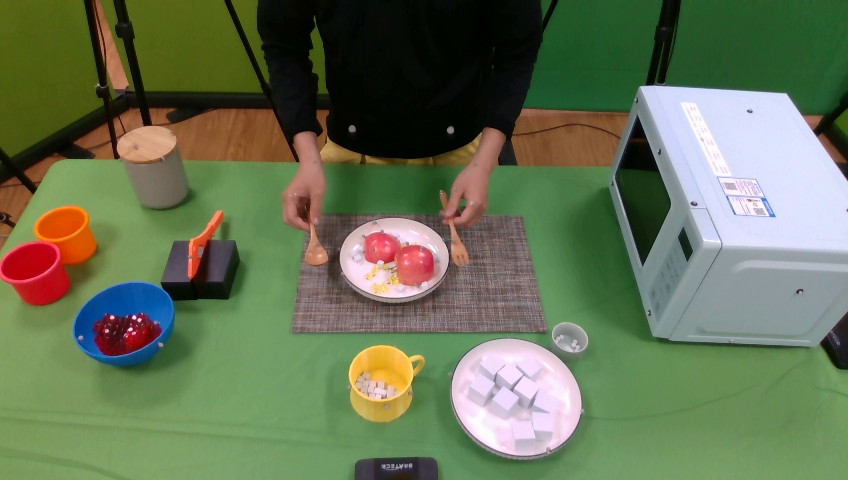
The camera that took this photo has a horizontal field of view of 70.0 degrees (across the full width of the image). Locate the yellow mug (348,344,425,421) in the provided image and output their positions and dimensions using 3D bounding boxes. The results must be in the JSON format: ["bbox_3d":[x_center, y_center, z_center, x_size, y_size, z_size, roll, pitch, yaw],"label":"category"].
[{"bbox_3d":[-0.054,0.216,0.954,0.131,0.064,0.099,-24,53,-25],"label":"yellow mug"}]

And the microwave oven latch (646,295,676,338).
[{"bbox_3d":[0.413,0.133,1.060,0.030,0.029,0.078,4,46,1],"label":"microwave oven latch"}]

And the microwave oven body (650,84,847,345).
[{"bbox_3d":[0.569,-0.054,1.115,0.326,0.261,0.439,2,46,-1],"label":"microwave oven body"}]

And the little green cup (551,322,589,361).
[{"bbox_3d":[0.247,0.175,1.033,0.061,0.039,0.061,2,44,-2],"label":"little green cup"}]

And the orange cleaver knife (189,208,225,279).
[{"bbox_3d":[-0.400,0.002,1.122,0.012,0.077,0.210,4,23,-4],"label":"orange cleaver knife"}]

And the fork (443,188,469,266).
[{"bbox_3d":[0.057,-0.029,1.133,0.019,0.028,0.206,29,34,-37],"label":"fork"}]

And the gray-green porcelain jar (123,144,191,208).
[{"bbox_3d":[-0.530,-0.137,1.213,0.106,0.127,0.105,2,46,-2],"label":"gray-green porcelain jar"}]

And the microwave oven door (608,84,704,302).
[{"bbox_3d":[0.424,-0.096,1.138,0.039,0.245,0.353,2,47,-1],"label":"microwave oven door"}]

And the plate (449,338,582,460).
[{"bbox_3d":[0.141,0.251,0.955,0.208,0.039,0.206,2,46,-2],"label":"plate"}]

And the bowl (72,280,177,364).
[{"bbox_3d":[-0.472,0.147,0.982,0.151,0.077,0.150,2,46,-2],"label":"bowl"}]

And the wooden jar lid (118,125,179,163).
[{"bbox_3d":[-0.528,-0.181,1.167,0.108,0.021,0.107,4,48,-4],"label":"wooden jar lid"}]

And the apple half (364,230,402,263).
[{"bbox_3d":[-0.079,0.005,1.159,0.081,0.033,0.081,3,49,-3],"label":"apple half"}]

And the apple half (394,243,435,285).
[{"bbox_3d":[-0.017,0.037,1.120,0.075,0.053,0.080,1,46,-6],"label":"apple half"}]

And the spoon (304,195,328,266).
[{"bbox_3d":[-0.207,-0.022,1.124,0.042,0.022,0.192,-8,50,-9],"label":"spoon"}]

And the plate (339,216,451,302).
[{"bbox_3d":[-0.054,0.038,1.138,0.209,0.038,0.208,2,46,-2],"label":"plate"}]
